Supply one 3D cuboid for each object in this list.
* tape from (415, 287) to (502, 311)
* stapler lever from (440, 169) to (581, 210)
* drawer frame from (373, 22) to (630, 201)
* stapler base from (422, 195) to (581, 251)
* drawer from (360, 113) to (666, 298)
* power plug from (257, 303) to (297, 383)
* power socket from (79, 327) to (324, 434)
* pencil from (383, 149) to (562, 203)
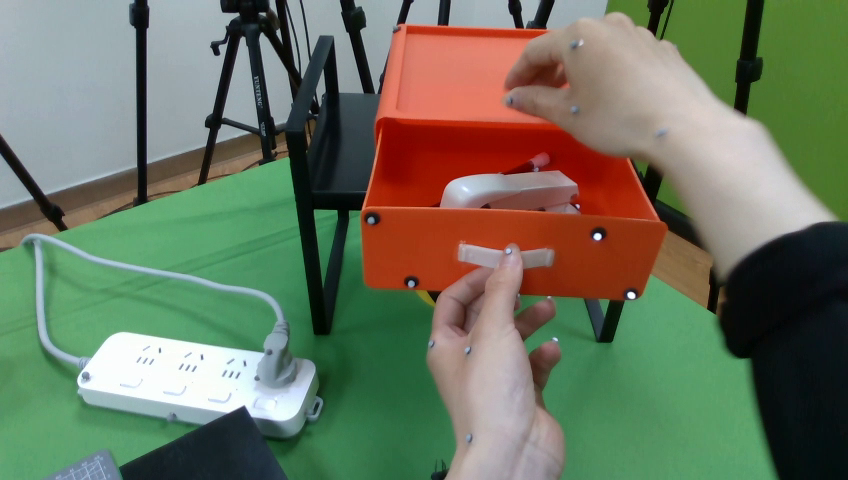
[{"bbox_3d":[0.042,0.023,0.691,0.117,0.053,0.115,2,40,-1],"label":"tape"},{"bbox_3d":[0.068,-0.036,0.457,0.118,0.040,0.026,-9,42,-24],"label":"stapler lever"},{"bbox_3d":[0.062,-0.129,0.568,0.202,0.083,0.211,1,38,0],"label":"drawer frame"},{"bbox_3d":[0.063,-0.018,0.469,0.131,0.024,0.041,-6,41,-26],"label":"stapler base"},{"bbox_3d":[0.059,-0.052,0.478,0.194,0.074,0.209,2,38,0],"label":"drawer"},{"bbox_3d":[-0.127,0.102,0.562,0.035,0.053,0.072,15,41,15],"label":"power plug"},{"bbox_3d":[-0.206,0.128,0.562,0.226,0.033,0.071,7,38,7],"label":"power socket"},{"bbox_3d":[0.042,-0.052,0.510,0.194,0.012,0.012,-19,43,-28],"label":"pencil"}]
